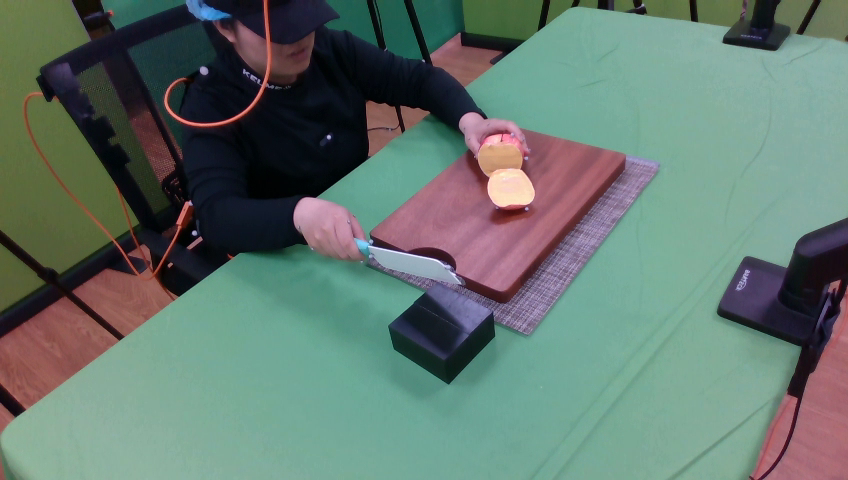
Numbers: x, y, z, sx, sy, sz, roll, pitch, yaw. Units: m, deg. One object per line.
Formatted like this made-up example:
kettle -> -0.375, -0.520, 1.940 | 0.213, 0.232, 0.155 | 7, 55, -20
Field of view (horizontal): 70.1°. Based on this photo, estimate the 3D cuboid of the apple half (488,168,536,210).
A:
apple half -> 0.142, -0.080, 0.995 | 0.081, 0.033, 0.081 | 1, 62, -2

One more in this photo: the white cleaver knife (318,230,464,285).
white cleaver knife -> -0.059, 0.027, 0.865 | 0.284, 0.066, 0.021 | 13, 58, 45

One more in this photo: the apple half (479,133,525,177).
apple half -> 0.139, -0.151, 1.055 | 0.080, 0.075, 0.053 | 1, 37, 18
